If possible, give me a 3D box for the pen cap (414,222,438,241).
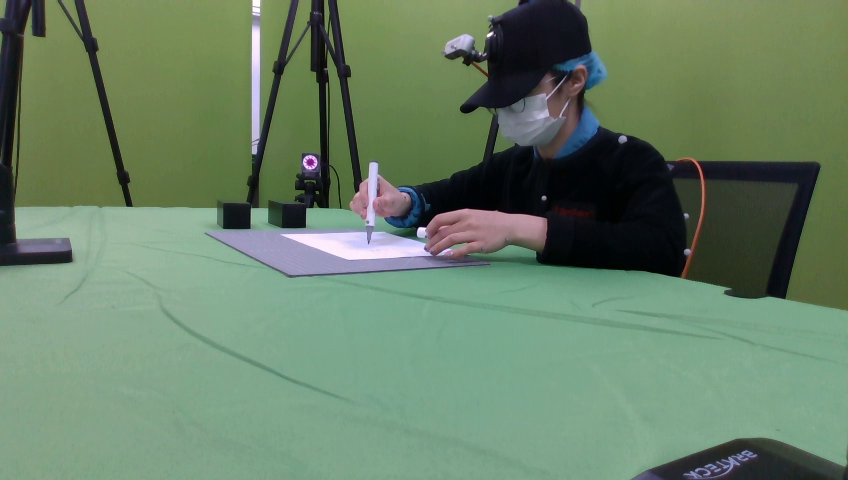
[{"bbox_3d":[0.004,-0.012,0.917,0.038,0.017,0.017,35,26,33],"label":"pen cap"}]

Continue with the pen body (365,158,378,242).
[{"bbox_3d":[-0.089,-0.068,1.023,0.017,0.144,0.017,3,-9,1],"label":"pen body"}]
